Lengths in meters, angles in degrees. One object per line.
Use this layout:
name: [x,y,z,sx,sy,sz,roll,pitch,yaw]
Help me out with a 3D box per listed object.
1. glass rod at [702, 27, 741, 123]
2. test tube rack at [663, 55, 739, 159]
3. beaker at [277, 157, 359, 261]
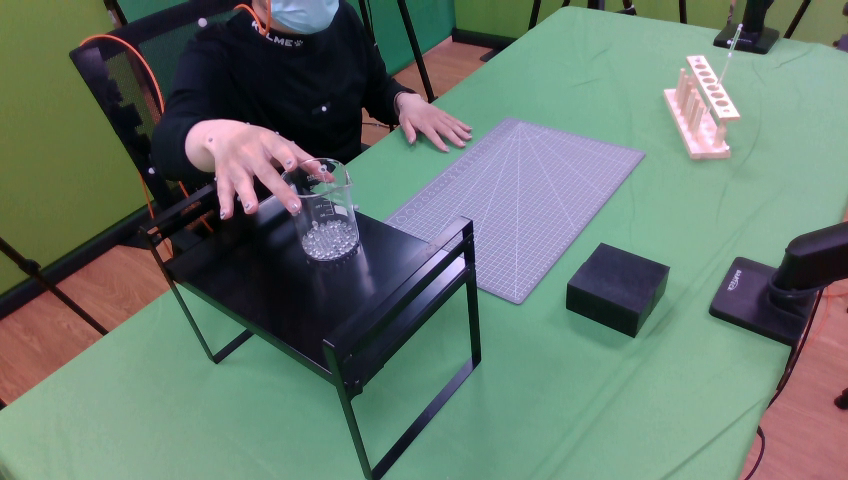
glass rod: [0.527,-0.288,1.078,0.008,0.200,0.008,-1,49,2]
test tube rack: [0.518,-0.256,1.144,0.066,0.085,0.241,-1,41,8]
beaker: [-0.114,-0.033,0.688,0.084,0.101,0.074,5,42,13]
